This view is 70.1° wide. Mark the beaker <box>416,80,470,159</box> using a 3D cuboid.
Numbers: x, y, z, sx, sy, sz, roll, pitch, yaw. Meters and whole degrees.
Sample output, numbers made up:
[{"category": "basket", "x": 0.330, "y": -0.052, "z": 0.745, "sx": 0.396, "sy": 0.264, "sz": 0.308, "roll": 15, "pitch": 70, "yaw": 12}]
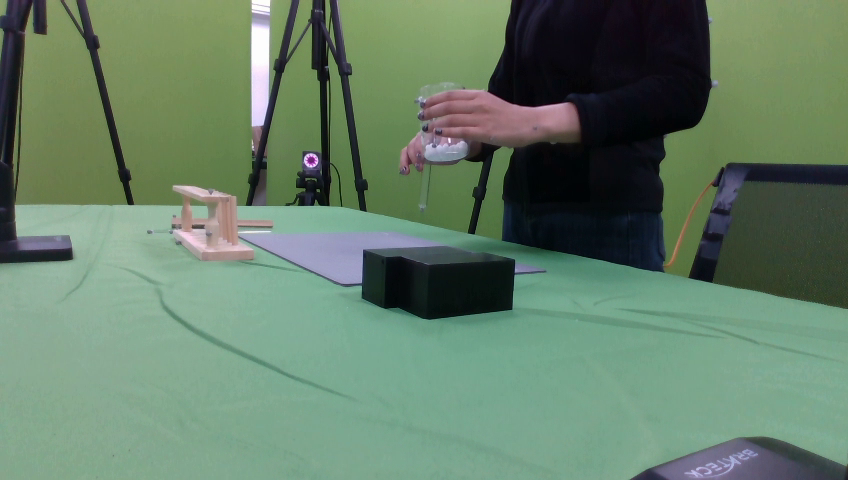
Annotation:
[{"category": "beaker", "x": 0.028, "y": -0.173, "z": 0.892, "sx": 0.074, "sy": 0.100, "sz": 0.084, "roll": -4, "pitch": -5, "yaw": -12}]

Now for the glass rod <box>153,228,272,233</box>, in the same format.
[{"category": "glass rod", "x": -0.368, "y": -0.017, "z": 1.065, "sx": 0.201, "sy": 0.008, "sz": 0.008, "roll": -2, "pitch": 8, "yaw": -27}]

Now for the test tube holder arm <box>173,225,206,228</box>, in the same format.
[{"category": "test tube holder arm", "x": -0.414, "y": -0.030, "z": 1.113, "sx": 0.088, "sy": 0.015, "sz": 0.010, "roll": -1, "pitch": -21, "yaw": -25}]

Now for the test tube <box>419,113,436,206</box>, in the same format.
[{"category": "test tube", "x": 0.005, "y": -0.127, "z": 0.965, "sx": 0.017, "sy": 0.150, "sz": 0.017, "roll": 5, "pitch": 17, "yaw": -1}]

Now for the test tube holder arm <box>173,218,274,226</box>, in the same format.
[{"category": "test tube holder arm", "x": -0.371, "y": -0.033, "z": 1.128, "sx": 0.179, "sy": 0.015, "sz": 0.013, "roll": -1, "pitch": -21, "yaw": -25}]

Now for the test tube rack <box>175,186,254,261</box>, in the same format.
[{"category": "test tube rack", "x": -0.314, "y": -0.031, "z": 0.889, "sx": 0.067, "sy": 0.085, "sz": 0.241, "roll": -2, "pitch": 8, "yaw": -30}]
